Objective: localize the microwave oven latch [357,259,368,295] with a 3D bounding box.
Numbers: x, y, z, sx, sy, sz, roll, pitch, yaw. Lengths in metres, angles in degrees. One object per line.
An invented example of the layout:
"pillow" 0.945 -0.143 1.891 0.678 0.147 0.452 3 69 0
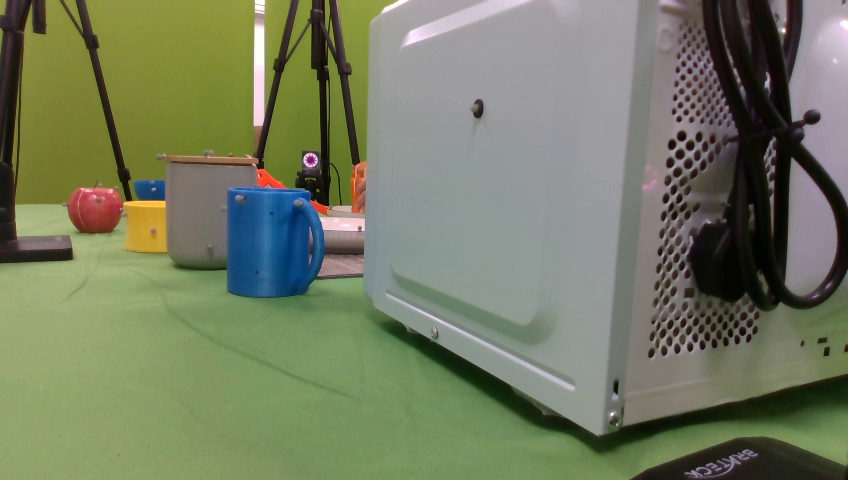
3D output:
"microwave oven latch" -0.019 0.031 0.529 0.079 0.029 0.030 -1 7 -26

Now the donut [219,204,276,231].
"donut" -0.316 -0.039 1.083 0.099 0.048 0.099 2 7 0

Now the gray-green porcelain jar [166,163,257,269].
"gray-green porcelain jar" -0.263 -0.031 0.754 0.106 0.126 0.106 2 7 0

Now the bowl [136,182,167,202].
"bowl" -0.497 -0.076 1.221 0.151 0.077 0.151 2 7 0

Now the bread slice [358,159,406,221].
"bread slice" -0.088 -0.106 1.275 0.105 0.131 0.019 -1 0 -24

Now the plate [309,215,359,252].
"plate" -0.130 -0.011 0.945 0.208 0.039 0.207 2 8 0

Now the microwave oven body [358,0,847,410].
"microwave oven body" 0.210 -0.051 0.471 0.444 0.260 0.324 -1 7 -28

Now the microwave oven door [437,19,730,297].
"microwave oven door" 0.181 -0.076 0.618 0.358 0.243 0.039 -2 8 -28

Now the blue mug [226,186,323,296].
"blue mug" -0.148 0.000 0.618 0.116 0.106 0.083 7 9 33

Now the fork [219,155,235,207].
"fork" -0.459 -0.134 1.415 0.028 0.018 0.207 -1 -34 -24

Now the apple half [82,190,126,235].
"apple half" -0.516 -0.046 0.994 0.032 0.081 0.081 0 6 26

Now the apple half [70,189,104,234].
"apple half" -0.552 -0.048 1.010 0.053 0.074 0.081 -1 9 26

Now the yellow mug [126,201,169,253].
"yellow mug" -0.361 -0.019 0.866 0.130 0.064 0.100 6 9 27

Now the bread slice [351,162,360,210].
"bread slice" -0.107 -0.112 1.327 0.107 0.134 0.018 0 -2 -27

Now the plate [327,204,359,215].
"plate" -0.102 -0.053 1.299 0.209 0.038 0.209 2 7 0

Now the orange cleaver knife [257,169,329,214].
"orange cleaver knife" -0.286 -0.082 1.300 0.212 0.077 0.012 26 -6 -31

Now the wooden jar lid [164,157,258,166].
"wooden jar lid" -0.261 -0.093 0.746 0.108 0.020 0.108 0 9 0

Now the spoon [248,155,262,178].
"spoon" -0.417 -0.150 1.543 0.042 0.193 0.021 -6 -34 -32
